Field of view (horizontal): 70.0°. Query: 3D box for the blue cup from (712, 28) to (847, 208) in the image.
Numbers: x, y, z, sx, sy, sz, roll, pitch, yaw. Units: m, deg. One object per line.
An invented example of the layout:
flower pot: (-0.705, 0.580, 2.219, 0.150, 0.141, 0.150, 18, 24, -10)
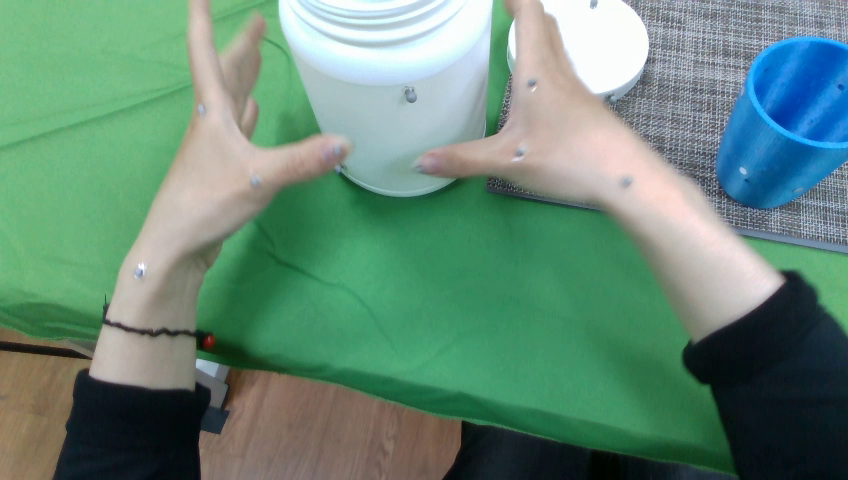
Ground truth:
blue cup: (0.243, -0.071, 0.412, 0.092, 0.101, 0.092, -2, 65, 4)

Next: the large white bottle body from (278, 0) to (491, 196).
large white bottle body: (-0.022, -0.127, 0.411, 0.130, 0.186, 0.129, -1, 65, 3)

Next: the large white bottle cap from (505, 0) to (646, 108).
large white bottle cap: (0.126, -0.162, 0.505, 0.115, 0.018, 0.114, -1, 67, 2)
